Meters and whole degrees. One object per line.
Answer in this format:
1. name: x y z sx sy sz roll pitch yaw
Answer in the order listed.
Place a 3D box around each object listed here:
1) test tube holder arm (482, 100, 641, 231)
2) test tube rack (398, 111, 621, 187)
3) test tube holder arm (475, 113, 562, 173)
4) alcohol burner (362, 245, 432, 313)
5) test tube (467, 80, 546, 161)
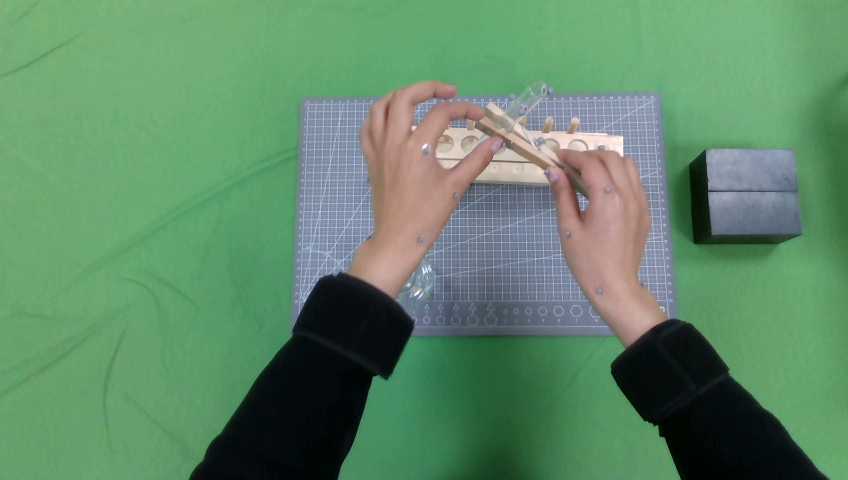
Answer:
1. test tube holder arm: 0.125 -0.065 0.547 0.179 0.015 0.013 36 73 -7
2. test tube rack: 0.095 -0.109 0.703 0.242 0.085 0.066 3 78 2
3. test tube holder arm: 0.085 -0.085 0.539 0.088 0.015 0.010 28 73 -9
4. alcohol burner: -0.030 0.039 0.662 0.078 0.119 0.077 0 77 0
5. test tube: 0.068 -0.101 0.537 0.017 0.150 0.017 4 76 -15
